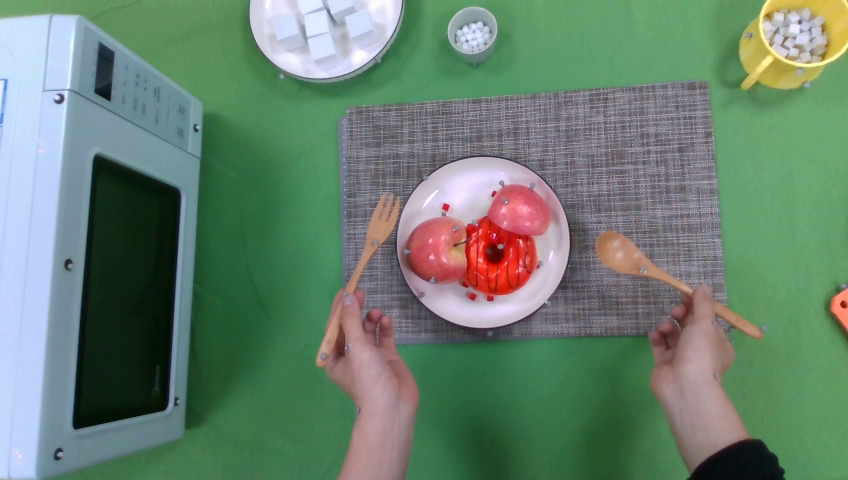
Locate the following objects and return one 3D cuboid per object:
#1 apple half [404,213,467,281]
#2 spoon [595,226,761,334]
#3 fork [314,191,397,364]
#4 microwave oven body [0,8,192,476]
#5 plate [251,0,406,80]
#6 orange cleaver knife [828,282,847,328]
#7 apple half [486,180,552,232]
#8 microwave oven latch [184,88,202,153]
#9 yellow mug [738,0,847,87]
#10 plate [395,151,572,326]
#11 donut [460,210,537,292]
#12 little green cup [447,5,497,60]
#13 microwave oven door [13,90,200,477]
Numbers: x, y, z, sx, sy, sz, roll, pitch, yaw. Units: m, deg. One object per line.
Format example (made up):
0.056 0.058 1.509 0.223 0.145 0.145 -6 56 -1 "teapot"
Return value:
0.008 0.007 0.702 0.074 0.054 0.080 -7 77 49 "apple half"
0.267 0.045 0.640 0.193 0.022 0.041 32 70 13 "spoon"
-0.071 0.034 0.641 0.028 0.019 0.206 18 63 7 "fork"
-0.472 0.009 0.693 0.325 0.261 0.440 -1 83 8 "microwave oven body"
-0.123 -0.306 0.798 0.207 0.039 0.207 -1 83 9 "plate"
0.509 0.134 0.654 0.077 0.012 0.210 -18 79 1 "orange cleaver knife"
0.115 -0.045 0.698 0.081 0.033 0.080 7 45 -6 "apple half"
-0.308 -0.154 0.787 0.030 0.029 0.079 1 83 8 "microwave oven latch"
0.411 -0.226 0.691 0.131 0.064 0.099 -45 79 2 "yellow mug"
0.070 -0.002 0.726 0.209 0.038 0.208 -1 83 9 "plate"
0.083 0.013 0.711 0.099 0.048 0.099 -1 86 10 "donut"
0.062 -0.259 0.763 0.061 0.039 0.061 -1 82 9 "little green cup"
-0.328 0.049 0.661 0.039 0.245 0.354 -1 82 9 "microwave oven door"
